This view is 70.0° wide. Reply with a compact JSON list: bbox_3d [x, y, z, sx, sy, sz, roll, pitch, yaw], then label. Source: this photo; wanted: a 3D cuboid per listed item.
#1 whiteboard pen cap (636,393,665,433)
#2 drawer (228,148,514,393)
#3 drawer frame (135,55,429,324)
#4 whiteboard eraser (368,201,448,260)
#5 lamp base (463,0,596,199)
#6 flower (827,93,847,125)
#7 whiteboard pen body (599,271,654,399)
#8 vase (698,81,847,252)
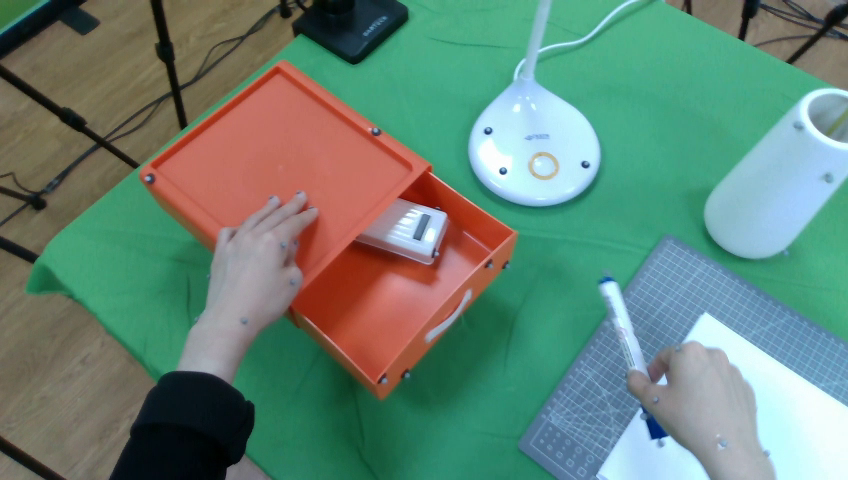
[{"bbox_3d":[0.196,0.149,0.526,0.018,0.018,0.033,-10,70,-5],"label":"whiteboard pen cap"},{"bbox_3d":[-0.054,0.006,0.592,0.210,0.074,0.194,38,70,18],"label":"drawer"},{"bbox_3d":[-0.138,-0.057,0.623,0.212,0.083,0.201,37,69,15],"label":"drawer frame"},{"bbox_3d":[-0.029,-0.012,0.642,0.112,0.042,0.055,7,68,37],"label":"whiteboard eraser"},{"bbox_3d":[0.123,-0.165,0.674,0.161,0.182,0.177,-16,61,-8],"label":"lamp base"},{"bbox_3d":[0.372,-0.115,0.546,0.038,0.364,0.044,22,47,4],"label":"flower"},{"bbox_3d":[0.184,0.095,0.544,0.017,0.017,0.139,-10,70,-5],"label":"whiteboard pen body"},{"bbox_3d":[0.356,-0.068,0.614,0.098,0.201,0.097,0,61,1],"label":"vase"}]
